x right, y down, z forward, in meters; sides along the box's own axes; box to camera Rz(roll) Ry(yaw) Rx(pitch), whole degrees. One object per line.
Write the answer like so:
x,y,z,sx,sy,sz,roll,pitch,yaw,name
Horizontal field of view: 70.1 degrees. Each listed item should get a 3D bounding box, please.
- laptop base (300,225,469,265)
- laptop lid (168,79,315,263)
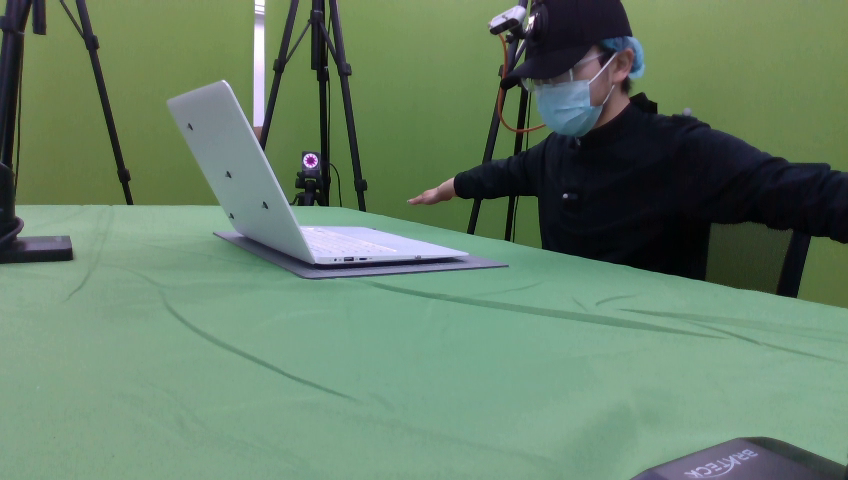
-0.124,0.005,0.936,0.237,0.023,0.352,2,6,-33,laptop base
-0.264,-0.093,0.831,0.013,0.242,0.355,-33,25,-25,laptop lid
